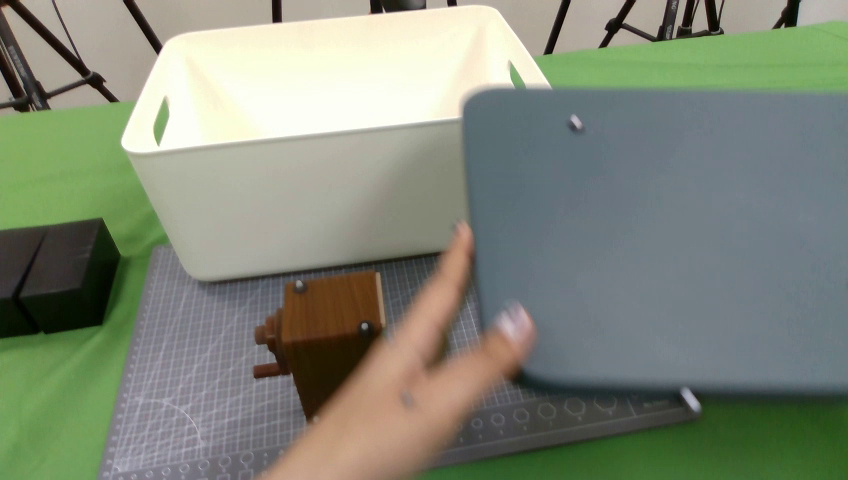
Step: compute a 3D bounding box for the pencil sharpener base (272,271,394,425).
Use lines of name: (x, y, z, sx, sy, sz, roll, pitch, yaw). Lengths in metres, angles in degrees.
pencil sharpener base: (-0.066, 0.083, 0.454, 0.077, 0.108, 0.060, -7, 42, -4)

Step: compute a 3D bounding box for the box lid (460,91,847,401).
box lid: (0.207, -0.018, 0.366, 0.372, 0.015, 0.260, 1, 42, -1)

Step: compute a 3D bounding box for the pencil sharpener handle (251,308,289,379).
pencil sharpener handle: (-0.117, 0.080, 0.442, 0.031, 0.068, 0.035, -7, 44, -4)

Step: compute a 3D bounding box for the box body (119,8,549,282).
box body: (-0.079, -0.107, 0.633, 0.364, 0.162, 0.251, -8, 41, -6)
